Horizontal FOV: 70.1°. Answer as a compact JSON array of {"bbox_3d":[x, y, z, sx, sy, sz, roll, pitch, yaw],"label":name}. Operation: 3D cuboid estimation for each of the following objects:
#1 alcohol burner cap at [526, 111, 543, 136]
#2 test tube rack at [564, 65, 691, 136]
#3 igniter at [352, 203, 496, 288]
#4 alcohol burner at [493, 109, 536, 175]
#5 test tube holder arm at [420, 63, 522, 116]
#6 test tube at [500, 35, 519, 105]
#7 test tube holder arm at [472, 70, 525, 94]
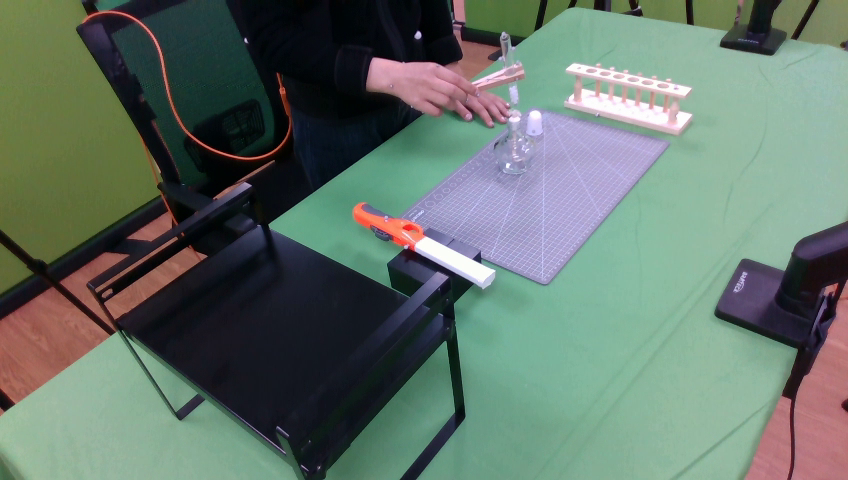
[{"bbox_3d":[0.219,-0.232,1.196,0.034,0.048,0.033,-4,41,4],"label":"alcohol burner cap"},{"bbox_3d":[0.404,-0.288,1.204,0.240,0.085,0.067,24,49,32],"label":"test tube rack"},{"bbox_3d":[-0.011,0.002,0.899,0.274,0.025,0.057,27,45,33],"label":"igniter"},{"bbox_3d":[0.163,-0.179,1.087,0.078,0.119,0.077,-5,39,4],"label":"alcohol burner"},{"bbox_3d":[0.077,-0.245,0.989,0.178,0.015,0.013,-22,63,5],"label":"test tube holder arm"},{"bbox_3d":[0.138,-0.270,0.975,0.017,0.151,0.017,-6,61,12],"label":"test tube"},{"bbox_3d":[0.121,-0.256,0.982,0.088,0.015,0.010,-15,65,8],"label":"test tube holder arm"}]
